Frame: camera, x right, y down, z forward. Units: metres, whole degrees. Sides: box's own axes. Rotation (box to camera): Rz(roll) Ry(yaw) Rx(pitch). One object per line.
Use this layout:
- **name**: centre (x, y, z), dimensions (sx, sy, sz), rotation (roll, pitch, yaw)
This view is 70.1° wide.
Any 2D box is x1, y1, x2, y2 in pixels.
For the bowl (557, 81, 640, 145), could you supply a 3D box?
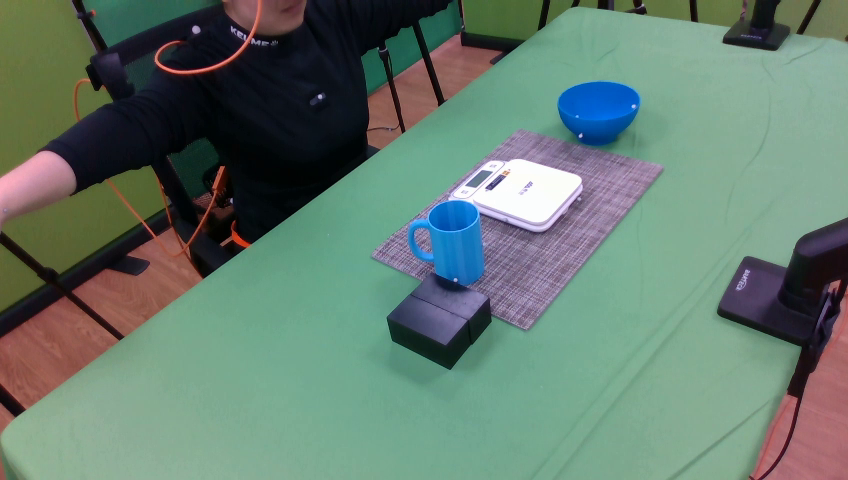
- **bowl**: centre (0.330, -0.233, 1.152), dimensions (0.151, 0.077, 0.150), rotation (-5, 40, 5)

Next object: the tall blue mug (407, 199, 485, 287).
- **tall blue mug**: centre (0.034, 0.008, 0.892), dimensions (0.107, 0.108, 0.077), rotation (-13, 41, -5)

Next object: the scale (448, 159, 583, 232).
- **scale**: centre (0.156, -0.085, 1.039), dimensions (0.199, 0.032, 0.149), rotation (22, 49, 32)
